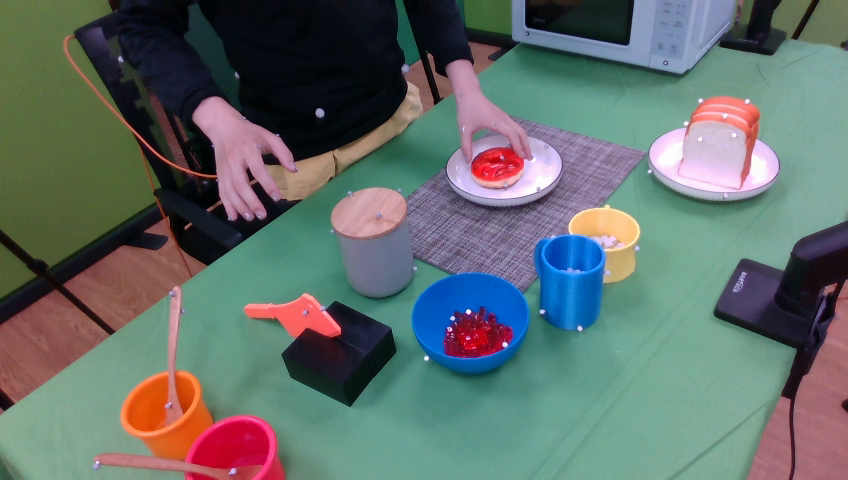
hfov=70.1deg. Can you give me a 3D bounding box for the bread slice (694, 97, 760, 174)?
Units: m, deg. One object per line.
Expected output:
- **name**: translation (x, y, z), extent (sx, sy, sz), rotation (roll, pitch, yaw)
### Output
- **bread slice**: translation (0.497, -0.173, 1.004), extent (0.106, 0.135, 0.018), rotation (23, 51, 26)

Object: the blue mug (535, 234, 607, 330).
- **blue mug**: translation (0.191, 0.048, 0.824), extent (0.082, 0.106, 0.115), rotation (-26, 44, -20)

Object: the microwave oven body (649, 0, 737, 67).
- **microwave oven body**: translation (0.475, -0.602, 1.411), extent (0.438, 0.261, 0.327), rotation (23, 50, 32)

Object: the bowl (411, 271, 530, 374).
- **bowl**: translation (0.061, 0.120, 0.780), extent (0.151, 0.077, 0.150), rotation (-4, 40, 4)

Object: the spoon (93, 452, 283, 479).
- **spoon**: translation (-0.240, 0.239, 0.632), extent (0.195, 0.021, 0.041), rotation (26, 34, -32)

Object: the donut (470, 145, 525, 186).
- **donut**: translation (0.129, -0.134, 1.073), extent (0.099, 0.048, 0.098), rotation (-6, 40, 5)

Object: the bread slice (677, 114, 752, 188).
- **bread slice**: translation (0.467, -0.144, 0.976), extent (0.104, 0.132, 0.019), rotation (18, 55, 30)

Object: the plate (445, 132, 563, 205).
- **plate**: translation (0.142, -0.123, 1.076), extent (0.209, 0.038, 0.208), rotation (-4, 41, 4)

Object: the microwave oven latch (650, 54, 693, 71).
- **microwave oven latch**: translation (0.531, -0.386, 1.301), extent (0.078, 0.029, 0.030), rotation (26, 51, 33)

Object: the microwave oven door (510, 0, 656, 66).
- **microwave oven door**: translation (0.350, -0.539, 1.348), extent (0.353, 0.245, 0.039), rotation (24, 50, 31)

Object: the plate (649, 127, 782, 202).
- **plate**: translation (0.493, -0.127, 1.036), extent (0.207, 0.039, 0.206), rotation (-4, 41, 4)

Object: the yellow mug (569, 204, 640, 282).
- **yellow mug**: translation (0.268, -0.005, 0.904), extent (0.099, 0.064, 0.130), rotation (7, 41, 15)

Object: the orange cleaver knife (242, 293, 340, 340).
- **orange cleaver knife**: translation (-0.186, 0.107, 0.827), extent (0.210, 0.077, 0.012), rotation (-9, 29, 48)

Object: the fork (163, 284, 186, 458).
- **fork**: translation (-0.302, 0.157, 0.733), extent (0.028, 0.019, 0.207), rotation (-3, 84, 15)

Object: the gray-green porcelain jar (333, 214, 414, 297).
- **gray-green porcelain jar**: translation (-0.071, 0.012, 0.887), extent (0.106, 0.127, 0.105), rotation (-4, 41, 4)

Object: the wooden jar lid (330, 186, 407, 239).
- **wooden jar lid**: translation (-0.077, -0.035, 0.846), extent (0.108, 0.021, 0.108), rotation (-5, 41, 5)
